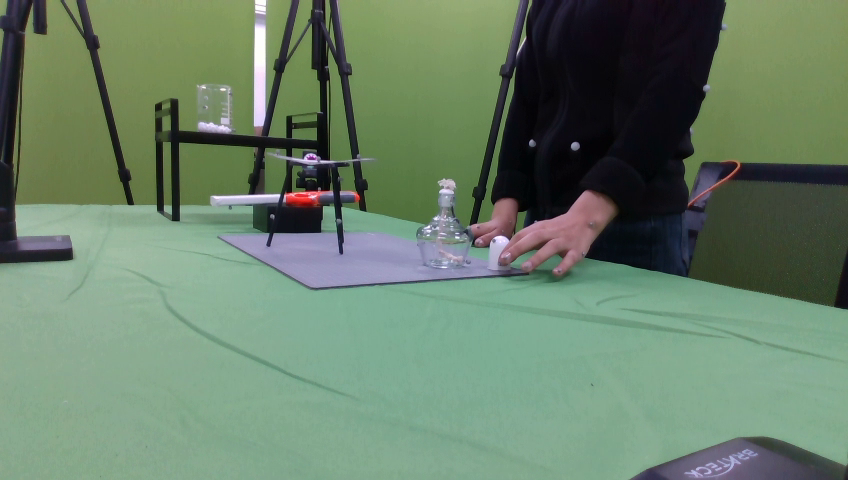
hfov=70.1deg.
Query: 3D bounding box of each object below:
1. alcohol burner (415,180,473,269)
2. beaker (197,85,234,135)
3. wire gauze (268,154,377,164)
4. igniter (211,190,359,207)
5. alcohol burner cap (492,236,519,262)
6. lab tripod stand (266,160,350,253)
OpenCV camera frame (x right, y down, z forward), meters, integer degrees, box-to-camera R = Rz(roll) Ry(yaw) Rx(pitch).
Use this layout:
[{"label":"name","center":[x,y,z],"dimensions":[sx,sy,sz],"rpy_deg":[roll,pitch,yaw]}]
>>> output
[{"label":"alcohol burner","center":[0.028,-0.021,0.807],"dimensions":[0.078,0.119,0.078],"rpy_deg":[4,5,0]},{"label":"beaker","center":[-0.444,-0.275,1.283],"dimensions":[0.074,0.100,0.084],"rpy_deg":[5,8,22]},{"label":"wire gauze","center":[-0.154,-0.120,0.910],"dimensions":[0.122,0.011,0.124],"rpy_deg":[-5,11,-44]},{"label":"igniter","center":[-0.257,-0.079,1.148],"dimensions":[0.278,0.025,0.057],"rpy_deg":[-4,12,-30]},{"label":"alcohol burner cap","center":[0.104,0.010,0.791],"dimensions":[0.034,0.034,0.048],"rpy_deg":[3,5,2]},{"label":"lab tripod stand","center":[-0.163,-0.054,0.915],"dimensions":[0.148,0.131,0.148],"rpy_deg":[2,9,0]}]
